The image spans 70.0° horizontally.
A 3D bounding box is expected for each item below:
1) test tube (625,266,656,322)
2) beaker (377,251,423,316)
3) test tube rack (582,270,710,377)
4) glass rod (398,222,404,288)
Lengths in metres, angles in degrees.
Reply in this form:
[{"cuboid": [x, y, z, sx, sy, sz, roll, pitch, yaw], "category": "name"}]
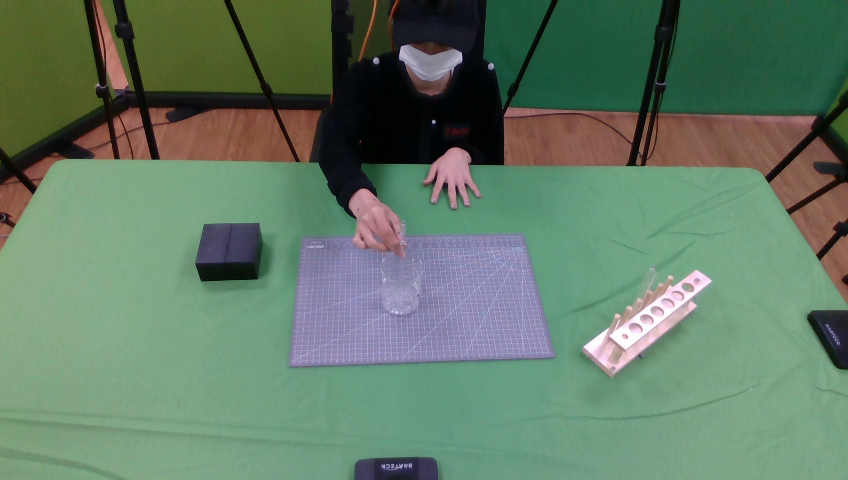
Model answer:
[{"cuboid": [0.366, 0.096, 1.027, 0.017, 0.151, 0.017, 1, 47, 0], "category": "test tube"}, {"cuboid": [-0.040, 0.081, 1.060, 0.074, 0.101, 0.083, -32, 57, -30], "category": "beaker"}, {"cuboid": [0.389, 0.132, 1.057, 0.242, 0.085, 0.066, -28, 54, -28], "category": "test tube rack"}, {"cuboid": [-0.040, 0.029, 1.024, 0.008, 0.200, 0.008, 2, 56, -3], "category": "glass rod"}]
